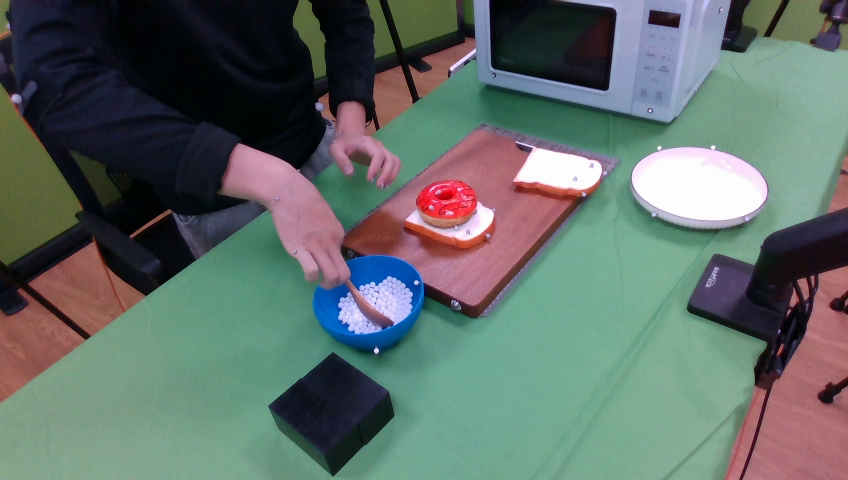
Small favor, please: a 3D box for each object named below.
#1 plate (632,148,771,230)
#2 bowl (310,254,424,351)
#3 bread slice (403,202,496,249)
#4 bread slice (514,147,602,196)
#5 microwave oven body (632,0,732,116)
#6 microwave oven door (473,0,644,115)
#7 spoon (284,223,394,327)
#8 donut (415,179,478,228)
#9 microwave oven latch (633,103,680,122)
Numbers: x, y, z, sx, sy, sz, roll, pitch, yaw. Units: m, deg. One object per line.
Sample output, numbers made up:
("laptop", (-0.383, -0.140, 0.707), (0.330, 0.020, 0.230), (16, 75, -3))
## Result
("plate", (0.447, -0.081, 0.988), (0.207, 0.039, 0.206), (-4, 40, 4))
("bowl", (-0.071, 0.097, 0.821), (0.151, 0.077, 0.150), (-4, 40, 4))
("bread slice", (0.048, -0.034, 0.961), (0.130, 0.019, 0.105), (22, 49, 31))
("bread slice", (0.232, -0.115, 1.027), (0.133, 0.018, 0.107), (13, 45, 20))
("microwave oven body", (0.377, -0.462, 1.267), (0.438, 0.261, 0.327), (21, 49, 30))
("microwave oven door", (0.257, -0.396, 1.199), (0.353, 0.245, 0.039), (21, 48, 29))
("spoon", (-0.111, 0.048, 0.792), (0.022, 0.194, 0.041), (-46, 10, -30))
("donut", (0.036, -0.058, 0.944), (0.099, 0.048, 0.098), (-5, 40, 5))
("microwave oven latch", (0.444, -0.249, 1.157), (0.078, 0.029, 0.030), (21, 49, 30))
